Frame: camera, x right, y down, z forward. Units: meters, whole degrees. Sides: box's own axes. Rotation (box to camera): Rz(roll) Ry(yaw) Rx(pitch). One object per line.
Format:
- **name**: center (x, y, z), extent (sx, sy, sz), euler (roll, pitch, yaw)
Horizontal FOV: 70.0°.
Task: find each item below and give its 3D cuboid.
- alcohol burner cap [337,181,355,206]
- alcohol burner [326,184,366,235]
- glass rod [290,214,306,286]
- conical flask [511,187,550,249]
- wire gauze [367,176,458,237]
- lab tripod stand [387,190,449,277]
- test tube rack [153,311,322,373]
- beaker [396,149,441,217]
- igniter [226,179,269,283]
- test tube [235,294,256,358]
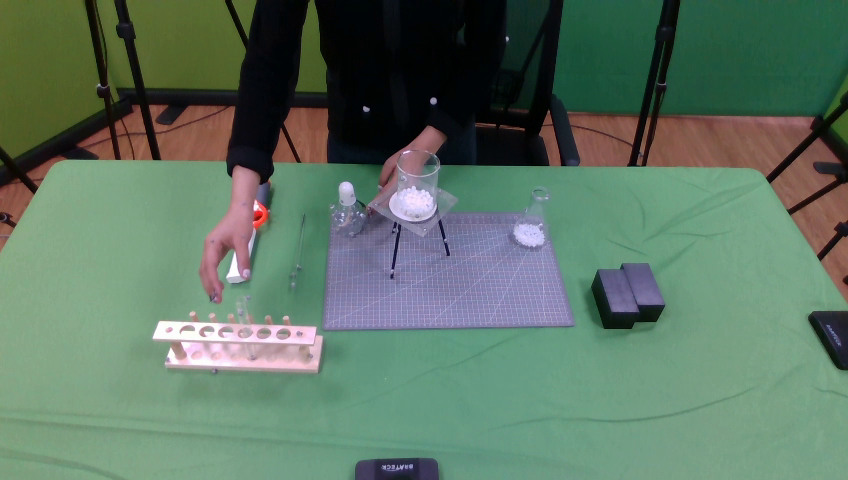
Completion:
- **alcohol burner cap**: center (-0.151, -0.090, 1.157), extent (0.034, 0.048, 0.033), euler (0, 52, 0)
- **alcohol burner**: center (-0.153, -0.066, 1.184), extent (0.078, 0.119, 0.077), euler (4, 46, -4)
- **glass rod**: center (-0.244, 0.015, 1.176), extent (0.008, 0.008, 0.198), euler (1, 43, -3)
- **conical flask**: center (0.217, -0.048, 1.190), extent (0.075, 0.122, 0.075), euler (2, 46, -2)
- **wire gauze**: center (-0.020, -0.066, 1.089), extent (0.124, 0.011, 0.121), euler (27, 47, 22)
- **lab tripod stand**: center (-0.021, -0.018, 1.135), extent (0.148, 0.132, 0.147), euler (3, 44, -3)
- **test tube rack**: center (-0.293, 0.160, 0.978), extent (0.242, 0.085, 0.066), euler (3, 46, -2)
- **beaker**: center (-0.015, -0.098, 1.053), extent (0.074, 0.101, 0.083), euler (-31, 55, -30)
- **igniter**: center (-0.345, -0.027, 1.195), extent (0.057, 0.025, 0.274), euler (-6, 46, 5)
- **test tube**: center (-0.274, 0.136, 0.933), extent (0.017, 0.151, 0.017), euler (4, 45, -4)
